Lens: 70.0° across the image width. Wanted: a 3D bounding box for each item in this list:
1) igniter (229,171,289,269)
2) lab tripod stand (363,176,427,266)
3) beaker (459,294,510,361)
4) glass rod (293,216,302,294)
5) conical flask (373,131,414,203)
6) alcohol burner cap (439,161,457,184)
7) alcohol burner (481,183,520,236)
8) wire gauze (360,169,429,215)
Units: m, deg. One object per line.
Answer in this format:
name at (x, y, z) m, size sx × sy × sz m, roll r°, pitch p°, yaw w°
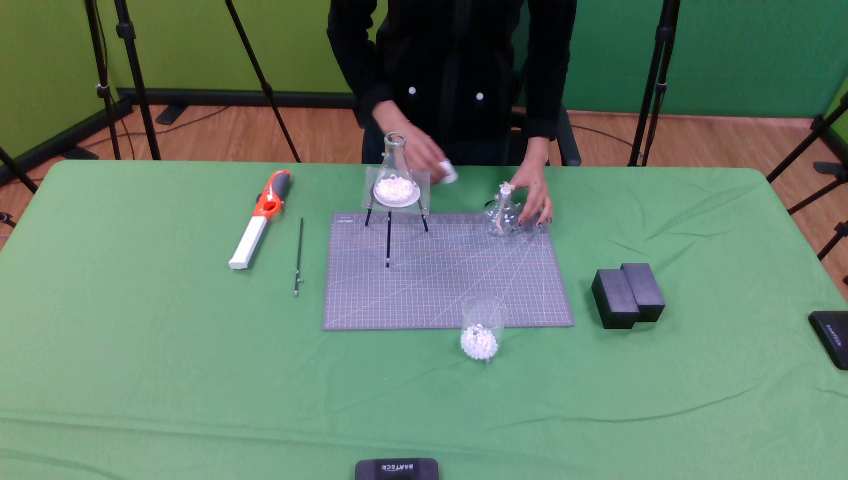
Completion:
igniter at (-0.328, -0.049, 1.218) m, size 0.057 × 0.025 × 0.275 m, roll 0°, pitch 45°, yaw 11°
lab tripod stand at (-0.058, -0.047, 1.159) m, size 0.148 × 0.132 × 0.147 m, roll 3°, pitch 44°, yaw -2°
beaker at (0.095, 0.147, 1.012) m, size 0.083 × 0.101 × 0.074 m, roll 26°, pitch 49°, yaw 21°
glass rod at (-0.242, 0.024, 1.166) m, size 0.008 × 0.008 × 0.198 m, roll -2°, pitch 47°, yaw -5°
conical flask at (-0.053, -0.131, 1.067) m, size 0.075 × 0.122 × 0.075 m, roll 2°, pitch 44°, yaw -2°
alcohol burner cap at (0.047, -0.140, 1.232) m, size 0.034 × 0.048 × 0.033 m, roll -10°, pitch 56°, yaw 15°
alcohol burner at (0.155, -0.066, 1.209) m, size 0.078 × 0.119 × 0.077 m, roll 3°, pitch 44°, yaw -3°
wire gauze at (-0.052, -0.092, 1.111) m, size 0.125 × 0.011 × 0.120 m, roll 3°, pitch 43°, yaw 1°
